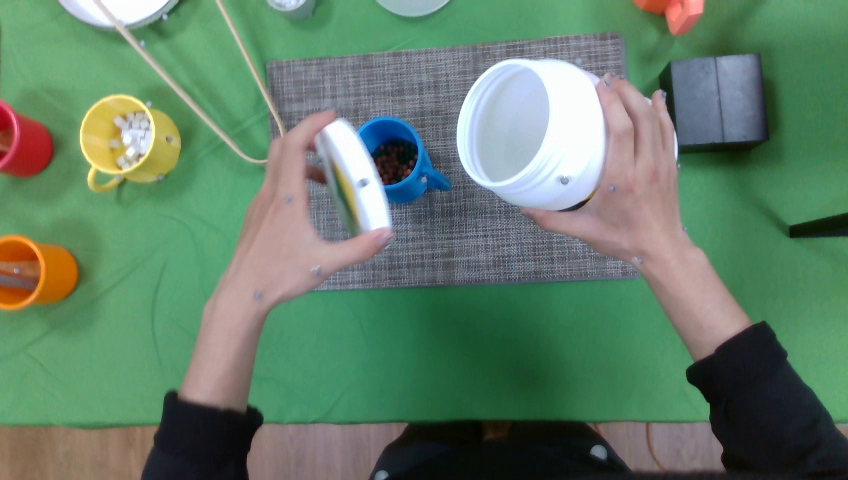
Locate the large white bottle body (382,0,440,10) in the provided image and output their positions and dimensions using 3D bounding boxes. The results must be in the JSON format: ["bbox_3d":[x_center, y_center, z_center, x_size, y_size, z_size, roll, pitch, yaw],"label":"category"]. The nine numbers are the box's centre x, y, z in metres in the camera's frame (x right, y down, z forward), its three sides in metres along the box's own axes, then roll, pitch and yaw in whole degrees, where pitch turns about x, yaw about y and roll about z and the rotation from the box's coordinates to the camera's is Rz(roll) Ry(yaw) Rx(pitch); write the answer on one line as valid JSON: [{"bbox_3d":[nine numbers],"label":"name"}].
[{"bbox_3d":[-0.023,-0.362,0.688,0.130,0.185,0.130,0,86,6],"label":"large white bottle body"}]

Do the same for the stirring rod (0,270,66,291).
[{"bbox_3d":[-0.534,0.040,0.734,0.006,0.178,0.014,-16,65,47],"label":"stirring rod"}]

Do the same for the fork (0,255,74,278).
[{"bbox_3d":[-0.543,0.022,0.733,0.209,0.018,0.028,13,86,-38],"label":"fork"}]

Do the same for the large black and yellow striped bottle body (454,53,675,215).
[{"bbox_3d":[0.130,-0.095,0.562,0.130,0.185,0.130,-7,81,49],"label":"large black and yellow striped bottle body"}]

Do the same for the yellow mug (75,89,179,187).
[{"bbox_3d":[-0.384,-0.121,0.768,0.100,0.064,0.131,36,92,6],"label":"yellow mug"}]

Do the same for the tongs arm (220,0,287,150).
[{"bbox_3d":[-0.261,-0.293,0.764,0.028,0.028,0.387,-27,92,-5],"label":"tongs arm"}]

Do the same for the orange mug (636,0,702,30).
[{"bbox_3d":[0.290,-0.315,0.701,0.083,0.101,0.125,-13,81,5],"label":"orange mug"}]

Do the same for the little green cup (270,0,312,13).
[{"bbox_3d":[-0.171,-0.323,0.773,0.061,0.039,0.061,0,88,5],"label":"little green cup"}]

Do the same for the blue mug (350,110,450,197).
[{"bbox_3d":[-0.024,-0.092,0.711,0.116,0.106,0.082,23,89,6],"label":"blue mug"}]

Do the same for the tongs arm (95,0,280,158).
[{"bbox_3d":[-0.330,-0.244,0.765,0.051,0.026,0.385,-41,91,-1],"label":"tongs arm"}]

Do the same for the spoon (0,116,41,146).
[{"bbox_3d":[-0.581,-0.121,0.747,0.194,0.021,0.041,-23,81,-41],"label":"spoon"}]

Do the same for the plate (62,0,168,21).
[{"bbox_3d":[-0.398,-0.386,0.797,0.207,0.039,0.207,0,87,5],"label":"plate"}]

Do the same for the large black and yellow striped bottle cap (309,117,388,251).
[{"bbox_3d":[-0.065,-0.046,0.509,0.019,0.115,0.114,-26,84,-18],"label":"large black and yellow striped bottle cap"}]
